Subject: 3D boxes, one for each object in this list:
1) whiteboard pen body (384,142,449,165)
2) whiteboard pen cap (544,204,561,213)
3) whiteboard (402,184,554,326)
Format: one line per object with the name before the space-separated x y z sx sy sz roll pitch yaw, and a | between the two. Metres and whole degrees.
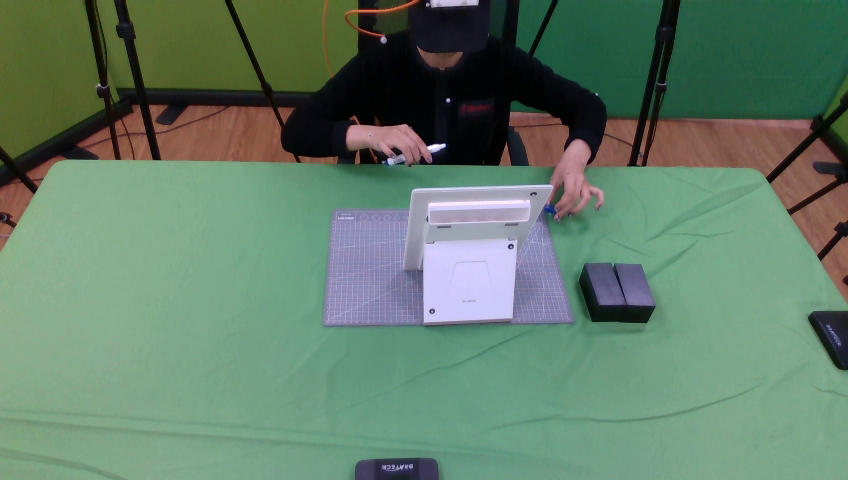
whiteboard pen body | -0.015 -0.182 1.261 0.141 0.017 0.017 -16 45 11
whiteboard pen cap | 0.266 -0.066 1.249 0.033 0.018 0.018 7 46 13
whiteboard | 0.081 0.044 1.005 0.217 0.306 0.143 -1 65 -6
